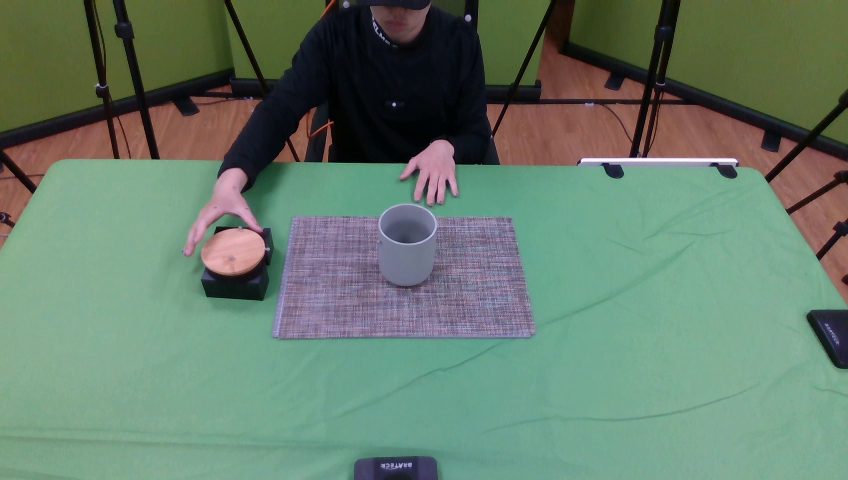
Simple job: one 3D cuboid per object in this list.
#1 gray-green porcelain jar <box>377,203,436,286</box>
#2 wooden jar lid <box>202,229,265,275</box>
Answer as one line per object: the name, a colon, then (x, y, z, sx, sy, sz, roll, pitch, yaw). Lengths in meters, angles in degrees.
gray-green porcelain jar: (-0.033, 0.014, 1.106, 0.106, 0.127, 0.105, 2, 46, -2)
wooden jar lid: (-0.340, 0.023, 1.083, 0.108, 0.021, 0.107, 3, 45, -2)
